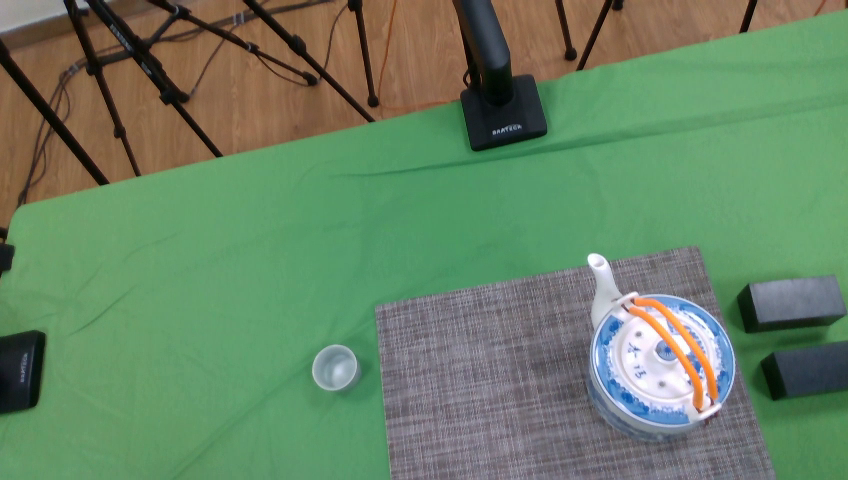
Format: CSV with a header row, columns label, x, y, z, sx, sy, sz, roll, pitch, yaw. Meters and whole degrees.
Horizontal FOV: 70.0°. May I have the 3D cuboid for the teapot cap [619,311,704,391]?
label,x,y,z,sx,sy,sz,roll,pitch,yaw
teapot cap,0.244,0.112,0.624,0.085,0.044,0.084,-4,64,8

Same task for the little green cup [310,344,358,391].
label,x,y,z,sx,sy,sz,roll,pitch,yaw
little green cup,-0.119,0.175,0.822,0.061,0.039,0.061,-4,66,10

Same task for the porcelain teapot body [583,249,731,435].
label,x,y,z,sx,sy,sz,roll,pitch,yaw
porcelain teapot body,0.237,0.106,0.672,0.145,0.227,0.203,-33,64,-3
